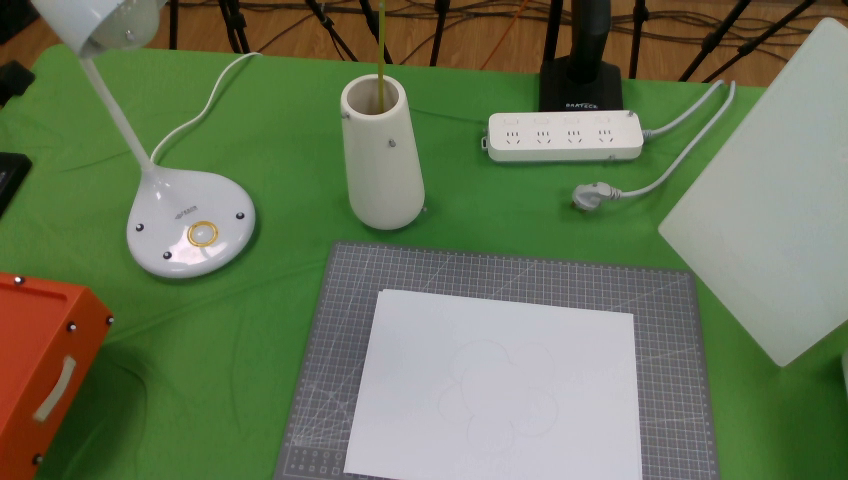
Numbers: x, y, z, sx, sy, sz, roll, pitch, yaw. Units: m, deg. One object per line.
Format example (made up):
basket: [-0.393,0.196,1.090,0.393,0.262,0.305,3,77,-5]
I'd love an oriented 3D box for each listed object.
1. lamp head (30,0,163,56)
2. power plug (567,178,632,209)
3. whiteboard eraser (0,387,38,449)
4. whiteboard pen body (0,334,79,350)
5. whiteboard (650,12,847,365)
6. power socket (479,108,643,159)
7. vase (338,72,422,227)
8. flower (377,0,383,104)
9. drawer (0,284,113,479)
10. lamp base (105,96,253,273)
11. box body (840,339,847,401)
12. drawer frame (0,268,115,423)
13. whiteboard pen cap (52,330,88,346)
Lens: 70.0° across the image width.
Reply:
lamp head: [-0.273,-0.223,0.473,0.123,0.112,0.112,46,63,-16]
power plug: [0.223,-0.052,0.780,0.073,0.053,0.035,28,56,-5]
whiteboard eraser: [-0.441,0.172,0.593,0.112,0.042,0.055,0,50,10]
whiteboard pen body: [-0.437,0.109,0.640,0.141,0.017,0.017,-2,57,-2]
whiteboard: [0.439,-0.049,0.650,0.144,0.307,0.215,-13,55,-29]
power socket: [0.191,-0.149,0.846,0.227,0.033,0.071,0,58,1]
vase: [-0.054,-0.103,0.723,0.098,0.202,0.097,-1,57,2]
flower: [-0.048,-0.162,0.663,0.038,0.365,0.043,-5,39,-10]
drawer: [-0.460,0.125,0.605,0.211,0.074,0.193,9,59,7]
lamp base: [-0.313,-0.075,0.723,0.178,0.182,0.160,34,64,24]
box body: [0.546,0.229,0.518,0.254,0.162,0.361,7,58,6]
drawer frame: [-0.466,0.126,0.607,0.213,0.083,0.200,9,58,5]
whiteboard pen cap: [-0.376,0.105,0.642,0.033,0.018,0.018,-4,57,6]
